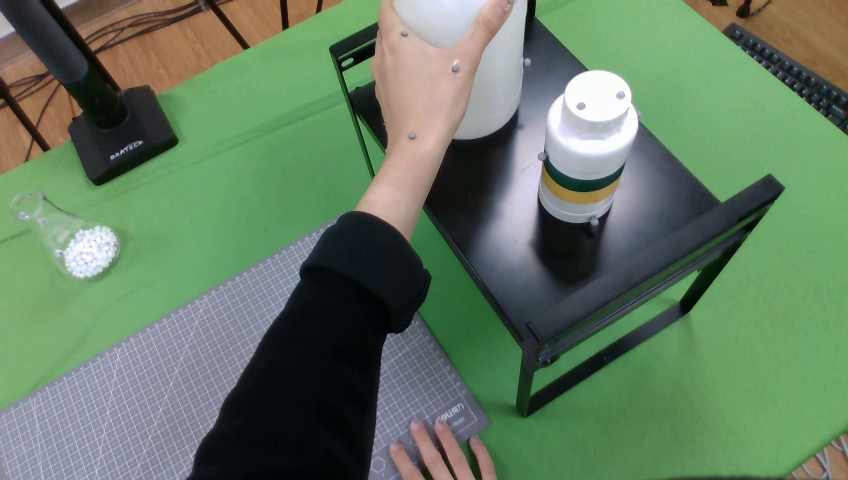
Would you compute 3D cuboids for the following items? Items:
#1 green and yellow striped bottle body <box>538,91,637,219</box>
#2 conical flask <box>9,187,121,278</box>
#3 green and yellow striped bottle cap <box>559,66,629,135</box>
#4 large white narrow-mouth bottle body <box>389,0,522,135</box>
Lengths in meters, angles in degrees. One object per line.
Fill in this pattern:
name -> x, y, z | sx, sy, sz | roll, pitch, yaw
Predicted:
green and yellow striped bottle body -> 0.120, -0.070, 0.453 | 0.063, 0.120, 0.062 | -2, 63, 5
conical flask -> -0.406, -0.012, 0.679 | 0.075, 0.123, 0.074 | -3, 63, 5
green and yellow striped bottle cap -> 0.114, -0.095, 0.408 | 0.045, 0.020, 0.045 | -2, 65, 4
large white narrow-mouth bottle body -> 0.026, -0.174, 0.474 | 0.101, 0.196, 0.101 | -3, 64, 7
